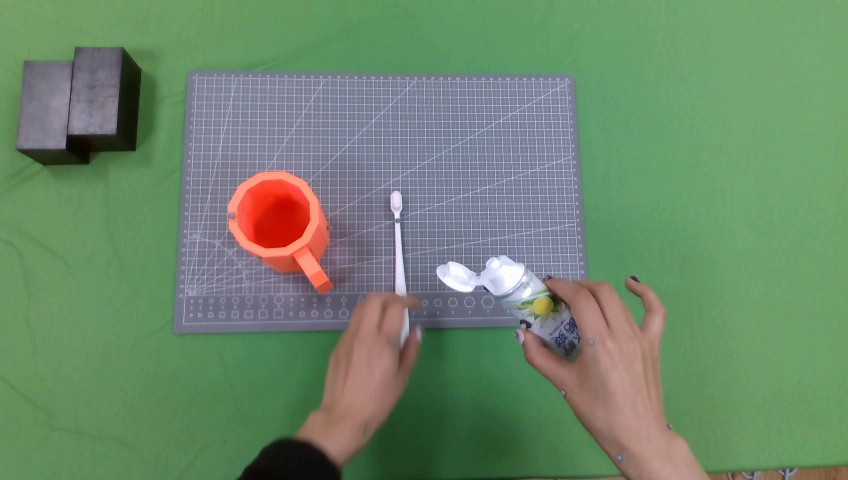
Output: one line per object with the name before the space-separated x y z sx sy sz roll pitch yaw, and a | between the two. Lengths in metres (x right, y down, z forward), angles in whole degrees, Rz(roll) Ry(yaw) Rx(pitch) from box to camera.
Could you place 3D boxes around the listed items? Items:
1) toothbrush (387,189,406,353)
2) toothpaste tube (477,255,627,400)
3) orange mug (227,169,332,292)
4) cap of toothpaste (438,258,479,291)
toothbrush | -0.030 0.032 0.663 0.014 0.017 0.181 -2 81 -6
toothpaste tube | 0.105 0.071 0.509 0.166 0.034 0.055 42 92 -18
orange mug | -0.137 -0.004 0.620 0.083 0.101 0.125 -34 78 -9
cap of toothpaste | 0.028 0.027 0.490 0.037 0.037 0.011 29 119 2
